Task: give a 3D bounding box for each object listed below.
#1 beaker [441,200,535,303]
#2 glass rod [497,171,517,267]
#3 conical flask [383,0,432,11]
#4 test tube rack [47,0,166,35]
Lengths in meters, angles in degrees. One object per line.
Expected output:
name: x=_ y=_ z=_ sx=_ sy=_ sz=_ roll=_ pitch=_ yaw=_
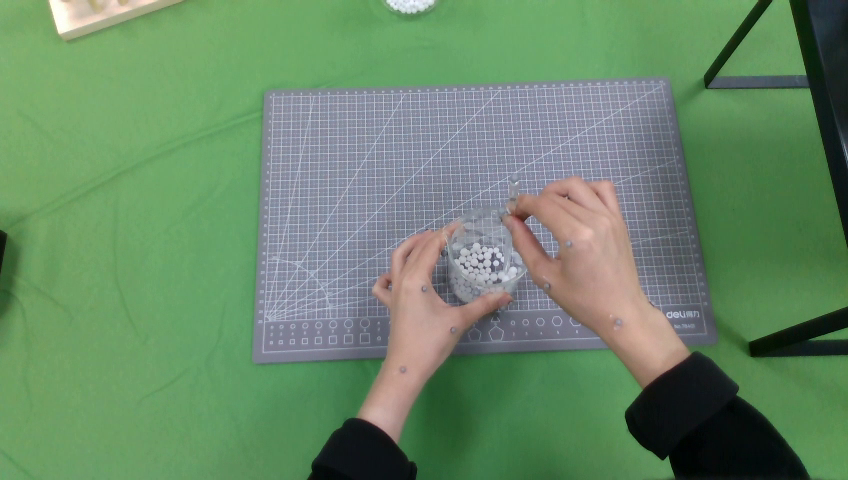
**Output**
beaker: x=0.054 y=0.014 z=0.562 sx=0.084 sy=0.101 sz=0.073 roll=22 pitch=73 yaw=7
glass rod: x=0.068 y=-0.011 z=0.509 sx=0.008 sy=0.201 sz=0.008 roll=-1 pitch=70 yaw=4
conical flask: x=-0.020 y=-0.316 z=0.656 sx=0.075 sy=0.122 sz=0.075 roll=0 pitch=72 yaw=0
test tube rack: x=-0.316 y=-0.320 z=0.675 sx=0.242 sy=0.085 sz=0.066 roll=-22 pitch=74 yaw=-7
